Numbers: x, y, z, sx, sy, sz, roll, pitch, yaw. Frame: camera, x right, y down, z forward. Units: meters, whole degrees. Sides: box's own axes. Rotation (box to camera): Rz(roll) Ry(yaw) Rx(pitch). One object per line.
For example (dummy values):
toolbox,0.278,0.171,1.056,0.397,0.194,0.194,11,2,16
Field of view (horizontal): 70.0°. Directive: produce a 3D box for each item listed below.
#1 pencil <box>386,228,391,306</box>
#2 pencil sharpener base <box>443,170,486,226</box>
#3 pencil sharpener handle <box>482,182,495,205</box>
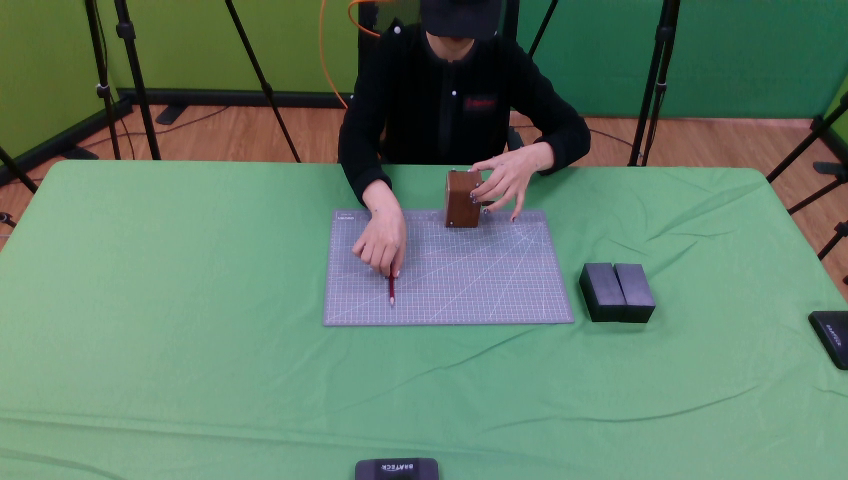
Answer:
pencil,-0.067,0.048,1.150,0.012,0.012,0.193,0,47,-4
pencil sharpener base,0.080,-0.083,1.221,0.077,0.107,0.061,1,46,-4
pencil sharpener handle,0.132,-0.093,1.217,0.031,0.068,0.036,1,56,-3
